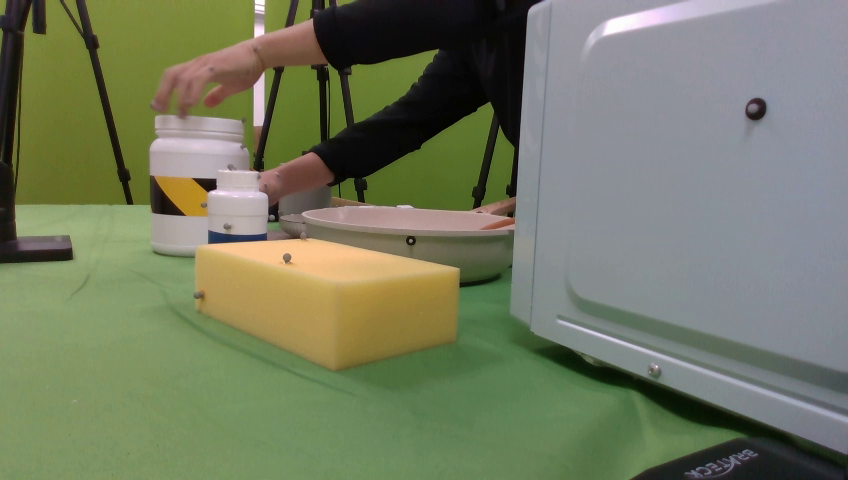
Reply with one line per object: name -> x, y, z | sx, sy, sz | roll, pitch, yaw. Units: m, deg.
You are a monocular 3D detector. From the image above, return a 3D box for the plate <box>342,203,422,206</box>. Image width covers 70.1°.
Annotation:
plate -> -0.089, -0.053, 1.309 | 0.208, 0.039, 0.207 | 2, 8, 0

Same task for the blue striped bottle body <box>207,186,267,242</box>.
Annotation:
blue striped bottle body -> -0.204, -0.016, 0.663 | 0.063, 0.120, 0.063 | 2, 7, 0

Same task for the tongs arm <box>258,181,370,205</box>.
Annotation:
tongs arm -> -0.241, -0.095, 1.373 | 0.387, 0.026, 0.050 | 9, 0, -37

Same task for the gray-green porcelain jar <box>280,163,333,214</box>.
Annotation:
gray-green porcelain jar -> -0.238, -0.091, 1.221 | 0.106, 0.126, 0.106 | 2, 7, 0

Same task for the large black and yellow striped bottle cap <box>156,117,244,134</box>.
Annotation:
large black and yellow striped bottle cap -> -0.311, -0.158, 0.843 | 0.115, 0.019, 0.115 | 1, 6, 0

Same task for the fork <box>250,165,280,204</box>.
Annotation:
fork -> -0.396, -0.143, 1.486 | 0.028, 0.018, 0.208 | 20, -26, 45

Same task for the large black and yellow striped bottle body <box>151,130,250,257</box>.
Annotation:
large black and yellow striped bottle body -> -0.313, -0.075, 0.854 | 0.131, 0.184, 0.130 | 1, 7, 0

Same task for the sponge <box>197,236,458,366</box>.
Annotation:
sponge -> -0.087, 0.039, 0.500 | 0.206, 0.061, 0.119 | 8, 9, 44

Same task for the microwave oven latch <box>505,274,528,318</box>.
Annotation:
microwave oven latch -> 0.100, 0.041, 0.472 | 0.079, 0.029, 0.030 | -2, 8, -31

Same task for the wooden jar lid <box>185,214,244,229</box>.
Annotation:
wooden jar lid -> -0.404, -0.037, 1.169 | 0.108, 0.020, 0.108 | 3, 7, 0

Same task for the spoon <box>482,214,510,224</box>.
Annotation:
spoon -> 0.076, -0.013, 0.794 | 0.193, 0.021, 0.042 | -24, -2, 11

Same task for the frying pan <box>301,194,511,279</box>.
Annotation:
frying pan -> 0.050, -0.028, 0.864 | 0.305, 0.102, 0.490 | 8, 18, 35

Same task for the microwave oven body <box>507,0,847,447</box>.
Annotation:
microwave oven body -> 0.331, -0.042, 0.425 | 0.444, 0.260, 0.324 | -2, 8, -31

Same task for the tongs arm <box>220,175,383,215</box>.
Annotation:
tongs arm -> -0.285, -0.105, 1.445 | 0.389, 0.027, 0.028 | 10, -3, -23

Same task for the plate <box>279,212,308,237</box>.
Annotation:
plate -> -0.139, -0.022, 1.020 | 0.209, 0.038, 0.209 | 2, 8, 0

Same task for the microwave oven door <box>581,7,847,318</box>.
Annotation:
microwave oven door -> 0.295, -0.067, 0.569 | 0.358, 0.243, 0.039 | -3, 8, -31

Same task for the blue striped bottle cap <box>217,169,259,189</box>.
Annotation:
blue striped bottle cap -> -0.202, -0.067, 0.656 | 0.044, 0.020, 0.044 | 0, 10, 0
